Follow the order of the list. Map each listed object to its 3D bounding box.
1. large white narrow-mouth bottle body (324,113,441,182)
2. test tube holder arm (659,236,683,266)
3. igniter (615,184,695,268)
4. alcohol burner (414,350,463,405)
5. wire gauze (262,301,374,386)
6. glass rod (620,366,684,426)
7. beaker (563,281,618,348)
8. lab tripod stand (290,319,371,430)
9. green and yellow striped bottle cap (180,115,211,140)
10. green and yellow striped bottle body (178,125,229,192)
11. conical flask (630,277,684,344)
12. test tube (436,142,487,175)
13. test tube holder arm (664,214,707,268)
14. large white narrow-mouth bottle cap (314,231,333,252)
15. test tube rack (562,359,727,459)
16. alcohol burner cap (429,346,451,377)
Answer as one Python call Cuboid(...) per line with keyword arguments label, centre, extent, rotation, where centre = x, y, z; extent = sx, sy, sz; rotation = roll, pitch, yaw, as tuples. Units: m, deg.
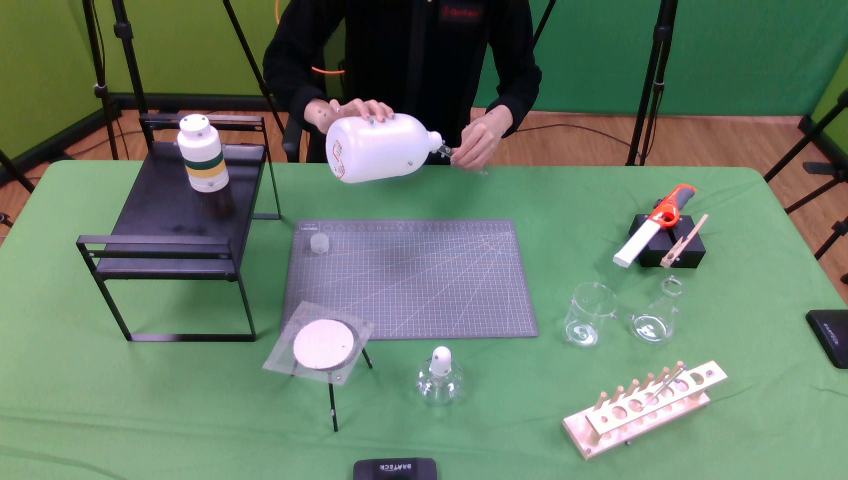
Cuboid(label="large white narrow-mouth bottle body", centre=(-0.056, -0.155, 0.985), extent=(0.195, 0.102, 0.101), rotation=(-12, 47, -34))
Cuboid(label="test tube holder arm", centre=(0.472, 0.020, 1.149), extent=(0.010, 0.015, 0.088), rotation=(35, 54, 27))
Cuboid(label="igniter", centre=(0.459, -0.035, 1.197), extent=(0.057, 0.025, 0.276), rotation=(33, 55, 27))
Cuboid(label="alcohol burner", centre=(0.023, 0.205, 0.939), extent=(0.078, 0.120, 0.077), rotation=(1, 48, -1))
Cuboid(label="wire gauze", centre=(-0.150, 0.148, 0.873), extent=(0.121, 0.011, 0.124), rotation=(14, 46, 12))
Cuboid(label="glass rod", centre=(0.323, 0.227, 0.866), extent=(0.008, 0.200, 0.008), rotation=(5, 51, -7))
Cuboid(label="beaker", centre=(0.283, 0.129, 1.041), extent=(0.074, 0.101, 0.083), rotation=(11, 46, 6))
Cuboid(label="lab tripod stand", centre=(-0.146, 0.193, 0.923), extent=(0.148, 0.132, 0.147), rotation=(1, 47, -1))
Cuboid(label="green and yellow striped bottle cap", centre=(-0.358, -0.177, 0.951), extent=(0.045, 0.020, 0.045), rotation=(2, 45, -2))
Cuboid(label="green and yellow striped bottle body", centre=(-0.361, -0.142, 0.989), extent=(0.063, 0.120, 0.063), rotation=(2, 46, -2))
Cuboid(label="conical flask", centre=(0.409, 0.117, 1.045), extent=(0.075, 0.122, 0.075), rotation=(2, 46, -2))
Cuboid(label="test tube", centre=(0.068, -0.148, 1.098), extent=(0.151, 0.017, 0.017), rotation=(20, 28, -47))
Cuboid(label="test tube holder arm", centre=(0.507, -0.001, 1.171), extent=(0.013, 0.015, 0.178), rotation=(34, 54, 26))
Cuboid(label="large white narrow-mouth bottle cap", centre=(-0.195, 0.003, 1.178), extent=(0.038, 0.024, 0.037), rotation=(2, 45, -2))
Cuboid(label="test tube rack", centre=(0.341, 0.247, 0.940), extent=(0.243, 0.085, 0.066), rotation=(-16, 49, -18))
Cuboid(label="alcohol burner cap", centre=(0.026, 0.180, 0.912), extent=(0.034, 0.048, 0.033), rotation=(1, 47, -1))
